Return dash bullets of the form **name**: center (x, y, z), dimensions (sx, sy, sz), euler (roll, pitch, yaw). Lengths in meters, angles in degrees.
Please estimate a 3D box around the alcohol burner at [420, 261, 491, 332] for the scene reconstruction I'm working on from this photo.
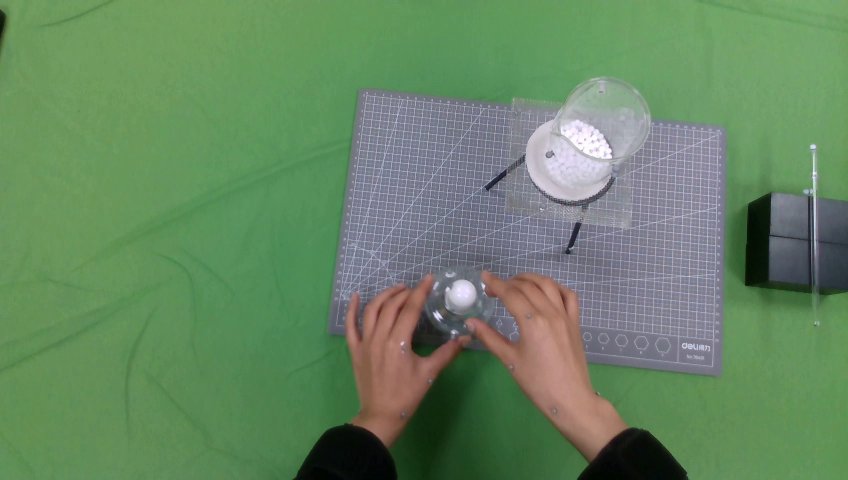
- **alcohol burner**: center (0.035, 0.058, 0.641), dimensions (0.078, 0.119, 0.077), euler (0, 82, -2)

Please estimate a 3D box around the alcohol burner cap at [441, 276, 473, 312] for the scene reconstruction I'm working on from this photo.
- **alcohol burner cap**: center (0.034, 0.053, 0.605), dimensions (0.034, 0.048, 0.033), euler (0, 73, 0)

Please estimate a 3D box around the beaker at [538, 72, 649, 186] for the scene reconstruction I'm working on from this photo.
- **beaker**: center (0.144, -0.093, 0.544), dimensions (0.084, 0.100, 0.073), euler (-10, 80, -3)

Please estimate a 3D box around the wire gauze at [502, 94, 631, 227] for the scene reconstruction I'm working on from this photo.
- **wire gauze**: center (0.140, -0.080, 0.591), dimensions (0.125, 0.011, 0.121), euler (7, 81, -3)

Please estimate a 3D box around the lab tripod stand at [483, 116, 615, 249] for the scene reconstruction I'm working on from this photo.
- **lab tripod stand**: center (0.143, -0.072, 0.656), dimensions (0.148, 0.132, 0.147), euler (0, 78, -1)

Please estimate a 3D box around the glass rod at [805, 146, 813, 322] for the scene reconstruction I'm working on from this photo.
- **glass rod**: center (0.426, -0.009, 0.670), dimensions (0.008, 0.008, 0.199), euler (6, 80, 0)
